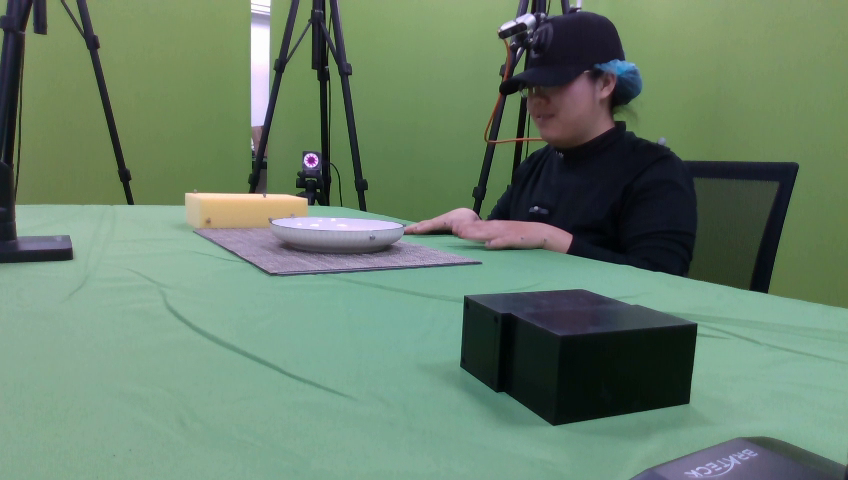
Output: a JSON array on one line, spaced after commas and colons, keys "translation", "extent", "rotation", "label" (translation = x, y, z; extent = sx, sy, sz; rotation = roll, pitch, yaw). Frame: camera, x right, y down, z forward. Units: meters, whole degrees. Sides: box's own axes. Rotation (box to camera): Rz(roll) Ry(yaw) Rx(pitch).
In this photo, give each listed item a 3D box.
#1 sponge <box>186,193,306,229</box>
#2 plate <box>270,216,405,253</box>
[{"translation": [-0.350, -0.059, 1.194], "extent": [0.208, 0.061, 0.117], "rotation": [-3, 9, -34], "label": "sponge"}, {"translation": [-0.134, -0.010, 0.946], "extent": [0.208, 0.039, 0.207], "rotation": [3, 7, 0], "label": "plate"}]
